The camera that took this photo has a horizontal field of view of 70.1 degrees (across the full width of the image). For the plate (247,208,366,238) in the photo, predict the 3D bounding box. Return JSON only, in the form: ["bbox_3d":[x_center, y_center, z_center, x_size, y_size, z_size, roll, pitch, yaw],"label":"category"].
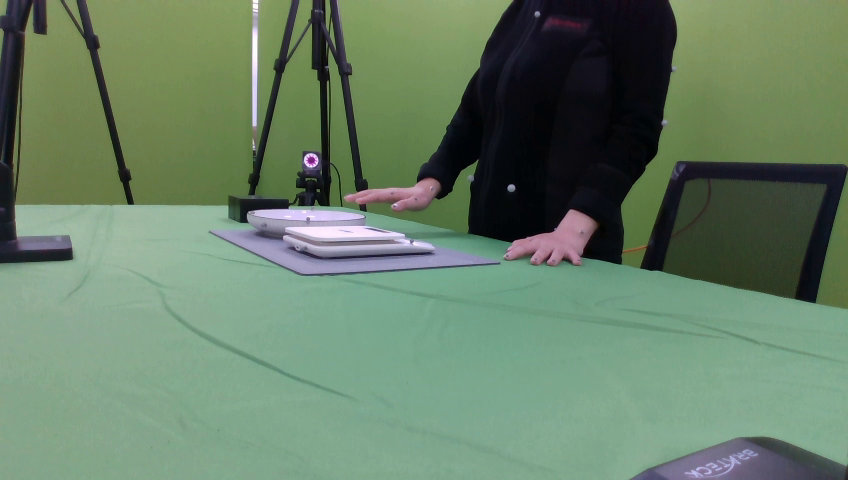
[{"bbox_3d":[-0.208,-0.030,1.082,0.209,0.038,0.209,2,7,0],"label":"plate"}]

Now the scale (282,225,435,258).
[{"bbox_3d":[-0.098,0.000,0.914,0.202,0.031,0.148,-2,9,-33],"label":"scale"}]
